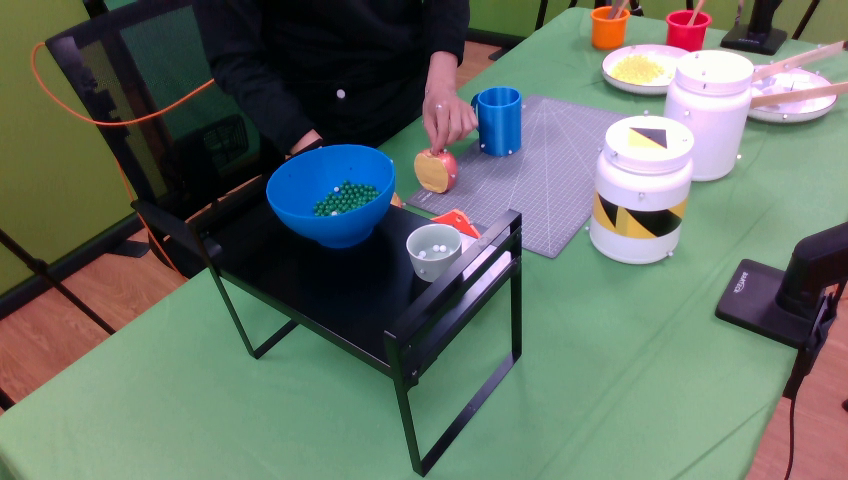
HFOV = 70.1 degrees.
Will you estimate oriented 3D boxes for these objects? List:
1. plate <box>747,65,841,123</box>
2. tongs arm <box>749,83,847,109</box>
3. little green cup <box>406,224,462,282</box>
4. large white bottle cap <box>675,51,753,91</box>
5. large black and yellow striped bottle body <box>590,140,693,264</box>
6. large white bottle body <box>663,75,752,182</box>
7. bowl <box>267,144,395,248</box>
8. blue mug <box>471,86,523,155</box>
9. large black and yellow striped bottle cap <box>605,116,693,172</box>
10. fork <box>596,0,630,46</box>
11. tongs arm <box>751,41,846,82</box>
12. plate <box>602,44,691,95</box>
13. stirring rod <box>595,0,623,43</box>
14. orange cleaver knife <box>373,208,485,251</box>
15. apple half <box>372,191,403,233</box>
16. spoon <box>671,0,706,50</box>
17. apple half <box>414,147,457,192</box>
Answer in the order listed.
[{"bbox_3d":[0.694,-0.283,1.189,0.207,0.039,0.206,-4,40,4],"label":"plate"},{"bbox_3d":[0.734,-0.280,1.134,0.388,0.028,0.028,-9,47,-5],"label":"tongs arm"},{"bbox_3d":[0.012,0.015,0.668,0.061,0.039,0.061,-4,40,4],"label":"little green cup"},{"bbox_3d":[0.463,-0.271,0.967,0.115,0.018,0.114,-4,40,3],"label":"large white bottle cap"},{"bbox_3d":[0.317,-0.071,0.889,0.131,0.185,0.130,-4,41,4],"label":"large black and yellow striped bottle body"},{"bbox_3d":[0.472,-0.207,1.022,0.130,0.185,0.130,-4,41,4],"label":"large white bottle body"},{"bbox_3d":[-0.104,-0.043,0.726,0.151,0.077,0.150,-4,40,4],"label":"bowl"},{"bbox_3d":[0.135,-0.235,1.163,0.082,0.106,0.115,-36,48,-28],"label":"blue mug"},{"bbox_3d":[0.309,-0.134,0.833,0.115,0.019,0.114,-5,40,5],"label":"large black and yellow striped bottle cap"},{"bbox_3d":[0.481,-0.556,1.452,0.028,0.019,0.207,40,103,41],"label":"fork"},{"bbox_3d":[0.708,-0.331,1.194,0.386,0.026,0.050,-18,45,-16],"label":"tongs arm"},{"bbox_3d":[0.495,-0.367,1.317,0.209,0.038,0.208,-4,40,4],"label":"plate"},{"bbox_3d":[0.460,-0.556,1.460,0.014,0.006,0.176,30,94,24],"label":"stirring rod"},{"bbox_3d":[0.003,-0.010,0.935,0.209,0.077,0.012,-3,35,44],"label":"orange cleaver knife"},{"bbox_3d":[-0.062,-0.048,1.026,0.033,0.081,0.080,14,20,-45],"label":"apple half"},{"bbox_3d":[0.629,-0.520,1.394,0.041,0.022,0.193,30,97,34],"label":"spoon"},{"bbox_3d":[0.027,-0.130,1.082,0.080,0.075,0.053,17,37,35],"label":"apple half"}]
